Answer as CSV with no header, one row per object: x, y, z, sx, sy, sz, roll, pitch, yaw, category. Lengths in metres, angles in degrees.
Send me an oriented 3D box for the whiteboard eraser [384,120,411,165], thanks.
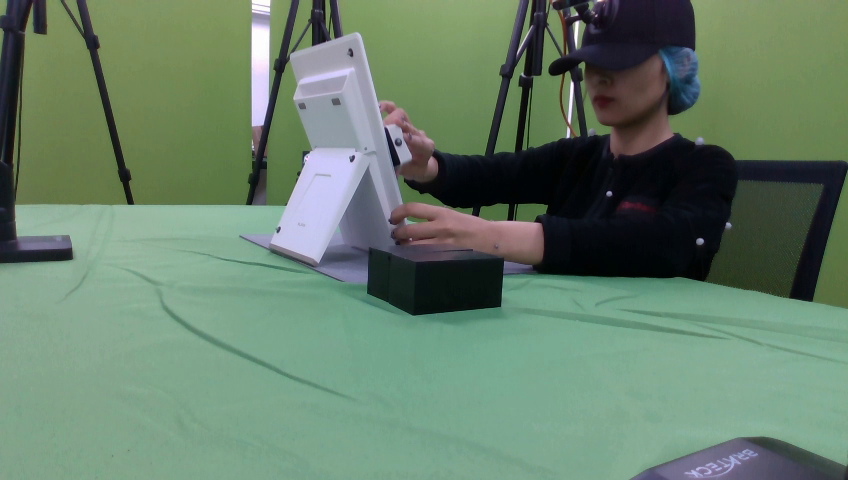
-0.063,-0.123,0.824,0.042,0.055,0.112,-27,9,-27,whiteboard eraser

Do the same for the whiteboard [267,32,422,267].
-0.154,-0.098,0.818,0.144,0.305,0.216,-24,20,-28,whiteboard
